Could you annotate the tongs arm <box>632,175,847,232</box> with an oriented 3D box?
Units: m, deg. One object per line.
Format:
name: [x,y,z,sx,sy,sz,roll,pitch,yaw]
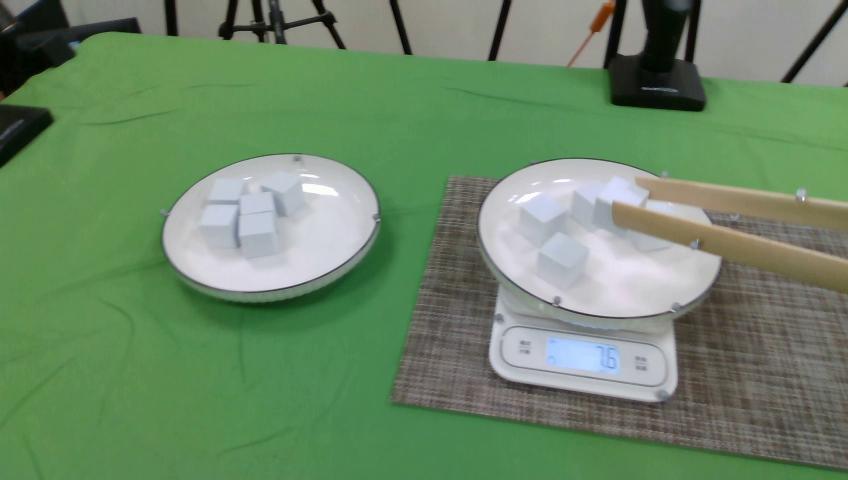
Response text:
tongs arm: [0.300,0.008,0.355,0.381,0.027,0.050,14,51,39]

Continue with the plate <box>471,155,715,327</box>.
plate: [0.145,0.000,0.540,0.208,0.039,0.205,1,44,0]

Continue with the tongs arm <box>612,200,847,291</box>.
tongs arm: [0.285,0.023,0.345,0.384,0.028,0.028,18,50,41]

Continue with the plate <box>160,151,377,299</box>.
plate: [-0.149,-0.015,0.605,0.209,0.038,0.207,0,43,0]

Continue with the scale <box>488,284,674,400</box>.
scale: [0.141,0.043,0.542,0.148,0.032,0.199,7,45,8]
